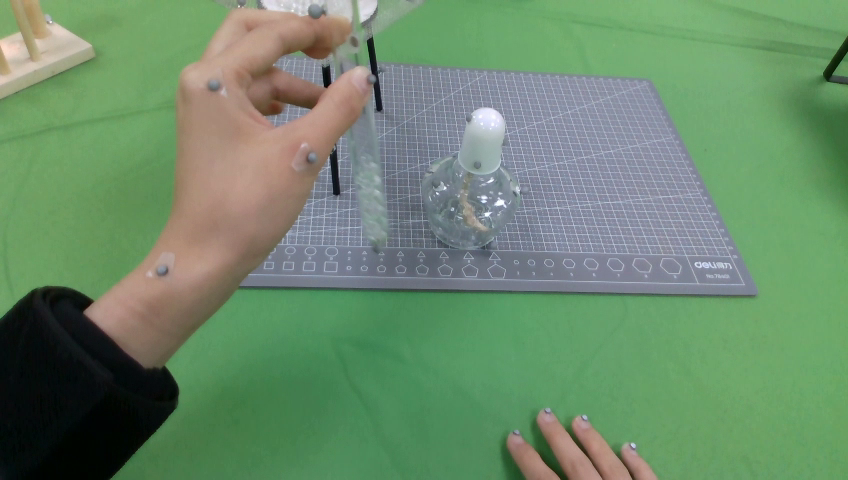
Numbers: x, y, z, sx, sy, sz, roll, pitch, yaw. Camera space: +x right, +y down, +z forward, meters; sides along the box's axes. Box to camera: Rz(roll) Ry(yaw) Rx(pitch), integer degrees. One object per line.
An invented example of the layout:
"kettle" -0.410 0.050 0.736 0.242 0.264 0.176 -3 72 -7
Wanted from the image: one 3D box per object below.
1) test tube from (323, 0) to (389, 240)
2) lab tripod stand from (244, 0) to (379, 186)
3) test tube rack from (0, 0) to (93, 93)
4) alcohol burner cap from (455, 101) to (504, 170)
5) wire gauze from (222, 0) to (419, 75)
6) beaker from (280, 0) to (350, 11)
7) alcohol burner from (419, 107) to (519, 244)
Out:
"test tube" -0.033 -0.063 0.303 0.017 0.151 0.017 -3 36 3
"lab tripod stand" -0.086 -0.140 0.499 0.149 0.132 0.147 6 50 -6
"test tube rack" -0.415 -0.158 0.501 0.066 0.086 0.242 32 52 18
"alcohol burner cap" 0.041 -0.076 0.429 0.034 0.048 0.033 3 54 -3
"wire gauze" -0.081 -0.182 0.450 0.124 0.011 0.121 35 56 15
"beaker" -0.079 -0.219 0.416 0.073 0.101 0.084 40 57 22
"alcohol burner" 0.037 -0.053 0.458 0.078 0.120 0.077 5 49 -6
